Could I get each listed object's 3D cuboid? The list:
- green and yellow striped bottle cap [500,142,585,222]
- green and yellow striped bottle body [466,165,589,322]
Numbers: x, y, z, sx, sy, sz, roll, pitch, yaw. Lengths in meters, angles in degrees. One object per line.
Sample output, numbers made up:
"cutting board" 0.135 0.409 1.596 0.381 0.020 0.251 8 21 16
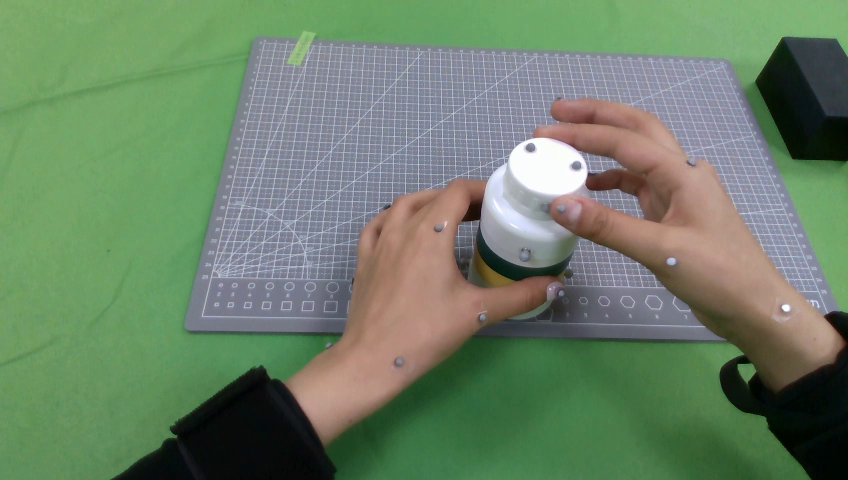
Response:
"green and yellow striped bottle cap" 0.065 -0.033 0.334 0.045 0.020 0.045 2 52 -3
"green and yellow striped bottle body" 0.063 -0.003 0.377 0.063 0.120 0.062 2 55 -2
